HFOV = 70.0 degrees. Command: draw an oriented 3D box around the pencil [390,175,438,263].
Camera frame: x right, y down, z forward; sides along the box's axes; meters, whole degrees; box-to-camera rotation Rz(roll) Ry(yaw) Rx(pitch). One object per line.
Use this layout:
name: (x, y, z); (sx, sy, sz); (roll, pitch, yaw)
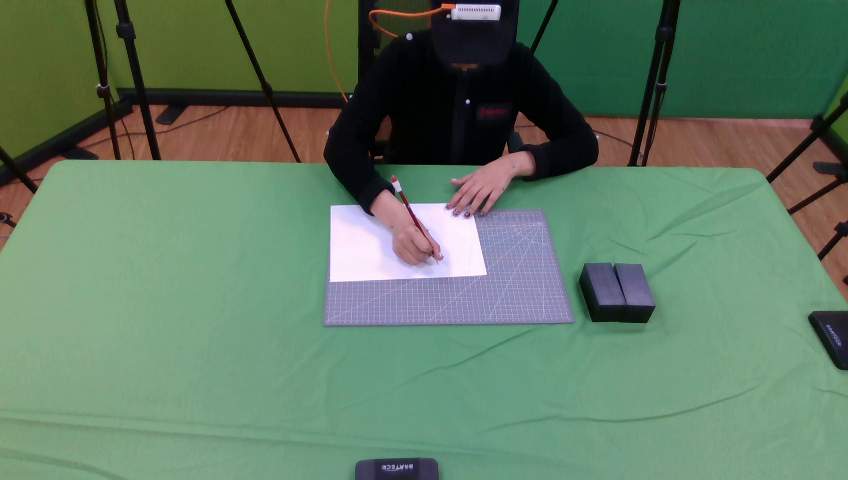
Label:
pencil: (-0.016, -0.036, 1.131); (0.012, 0.195, 0.012); (-24, 21, 10)
